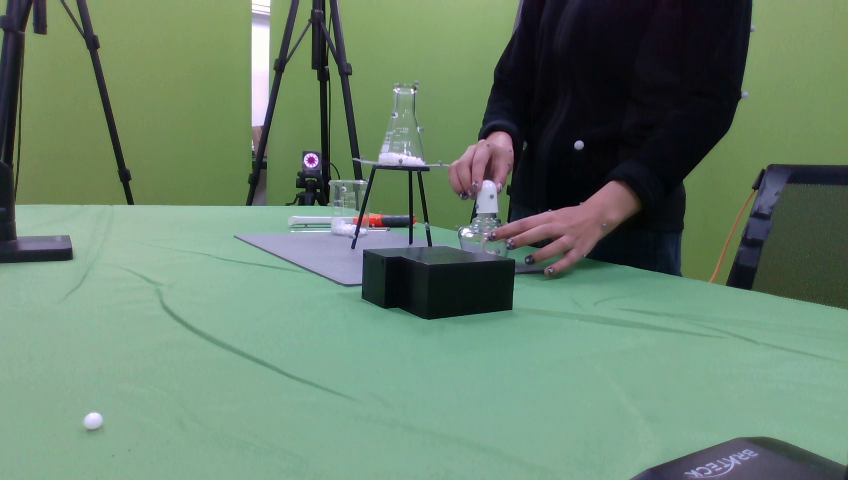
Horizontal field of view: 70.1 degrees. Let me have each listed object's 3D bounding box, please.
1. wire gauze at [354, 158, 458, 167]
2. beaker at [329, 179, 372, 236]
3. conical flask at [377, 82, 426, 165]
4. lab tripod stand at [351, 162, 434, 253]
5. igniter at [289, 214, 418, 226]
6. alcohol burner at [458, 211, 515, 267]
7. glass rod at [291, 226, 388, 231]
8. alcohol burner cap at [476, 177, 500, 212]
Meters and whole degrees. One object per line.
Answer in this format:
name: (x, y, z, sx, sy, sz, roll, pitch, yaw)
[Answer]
wire gauze: (-0.030, -0.117, 0.927, 0.122, 0.011, 0.124, 0, 5, -36)
beaker: (-0.137, -0.061, 1.101, 0.084, 0.100, 0.074, 5, 7, 20)
conical flask: (-0.032, -0.175, 0.918, 0.075, 0.122, 0.075, 3, 8, 0)
lab tripod stand: (-0.034, -0.052, 0.933, 0.148, 0.131, 0.148, 4, 7, 0)
igniter: (-0.141, -0.042, 1.258, 0.278, 0.025, 0.057, -1, -2, -30)
alcohol burner: (0.086, -0.023, 0.825, 0.078, 0.119, 0.078, 1, 8, 0)
glass rod: (-0.161, -0.023, 1.177, 0.201, 0.008, 0.008, -2, 8, -28)
alcohol burner cap: (0.085, -0.061, 0.819, 0.034, 0.048, 0.034, -4, 5, 1)
